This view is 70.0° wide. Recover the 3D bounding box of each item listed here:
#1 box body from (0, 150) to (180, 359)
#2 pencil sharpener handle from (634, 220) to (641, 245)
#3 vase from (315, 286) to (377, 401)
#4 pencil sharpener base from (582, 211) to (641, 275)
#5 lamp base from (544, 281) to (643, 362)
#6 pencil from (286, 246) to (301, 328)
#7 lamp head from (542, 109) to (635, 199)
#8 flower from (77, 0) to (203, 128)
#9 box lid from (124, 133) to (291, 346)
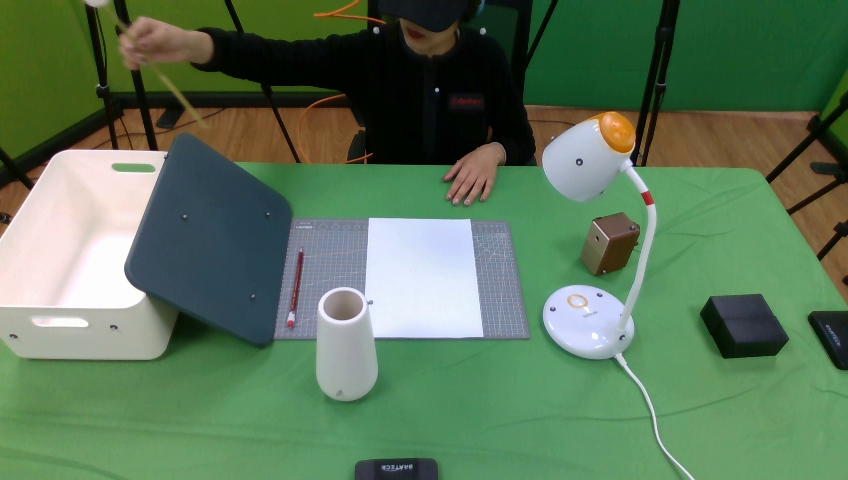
[{"bbox_3d":[-0.541,0.021,1.042,0.254,0.161,0.361,1,46,-3],"label":"box body"},{"bbox_3d":[0.405,-0.015,1.161,0.031,0.068,0.035,-15,44,-18],"label":"pencil sharpener handle"},{"bbox_3d":[-0.119,0.159,0.911,0.098,0.201,0.097,2,47,-2],"label":"vase"},{"bbox_3d":[0.357,0.005,1.156,0.077,0.107,0.061,-15,48,-18],"label":"pencil sharpener base"},{"bbox_3d":[0.303,0.095,1.014,0.161,0.181,0.178,-24,54,-24],"label":"lamp base"},{"bbox_3d":[-0.236,0.080,1.106,0.012,0.012,0.193,0,45,-4],"label":"pencil"},{"bbox_3d":[0.253,-0.131,0.893,0.113,0.123,0.112,10,66,-24],"label":"lamp head"},{"bbox_3d":[-0.470,-0.303,1.009,0.038,0.364,0.044,-41,58,-9],"label":"flower"},{"bbox_3d":[-0.356,-0.012,1.064,0.015,0.265,0.369,-33,39,26],"label":"box lid"}]
